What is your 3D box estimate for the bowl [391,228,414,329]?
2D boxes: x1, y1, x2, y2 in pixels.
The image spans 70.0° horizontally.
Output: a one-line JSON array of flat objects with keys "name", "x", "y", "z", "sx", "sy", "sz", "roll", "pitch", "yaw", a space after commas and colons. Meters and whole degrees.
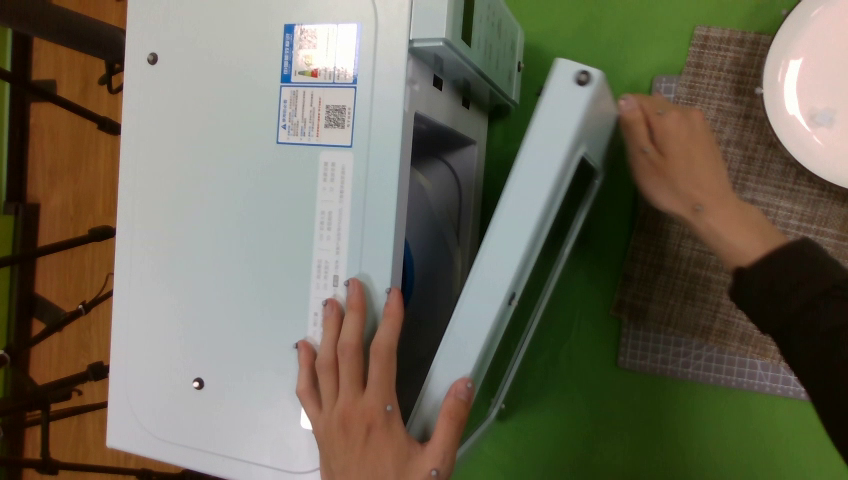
[{"name": "bowl", "x": -0.071, "y": 0.034, "z": 0.625, "sx": 0.151, "sy": 0.077, "sz": 0.151, "roll": 0, "pitch": 91, "yaw": 21}]

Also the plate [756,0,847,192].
[{"name": "plate", "x": 0.404, "y": -0.138, "z": 0.525, "sx": 0.208, "sy": 0.038, "sz": 0.209, "roll": 0, "pitch": 90, "yaw": 21}]

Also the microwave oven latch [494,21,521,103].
[{"name": "microwave oven latch", "x": 0.084, "y": -0.184, "z": 0.631, "sx": 0.030, "sy": 0.029, "sz": 0.079, "roll": 6, "pitch": 94, "yaw": 20}]

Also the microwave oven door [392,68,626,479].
[{"name": "microwave oven door", "x": 0.080, "y": 0.048, "z": 0.531, "sx": 0.039, "sy": 0.245, "sz": 0.356, "roll": 25, "pitch": 100, "yaw": 19}]

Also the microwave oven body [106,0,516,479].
[{"name": "microwave oven body", "x": -0.102, "y": -0.020, "z": 0.603, "sx": 0.324, "sy": 0.261, "sz": 0.442, "roll": 5, "pitch": 94, "yaw": 20}]
